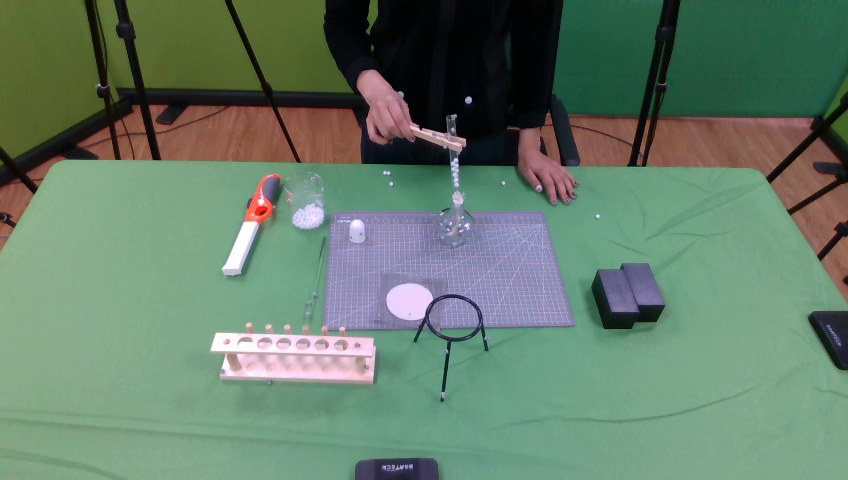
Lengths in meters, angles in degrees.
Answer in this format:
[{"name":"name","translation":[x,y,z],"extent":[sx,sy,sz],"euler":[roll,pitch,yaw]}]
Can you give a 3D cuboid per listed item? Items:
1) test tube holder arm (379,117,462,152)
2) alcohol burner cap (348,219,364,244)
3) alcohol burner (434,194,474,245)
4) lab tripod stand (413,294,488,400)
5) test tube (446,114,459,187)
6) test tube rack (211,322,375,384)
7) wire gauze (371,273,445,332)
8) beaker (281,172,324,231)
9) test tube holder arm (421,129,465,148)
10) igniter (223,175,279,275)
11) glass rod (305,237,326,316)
[{"name":"test tube holder arm","translation":[-0.010,-0.191,1.084],"extent":[0.177,0.015,0.013],"euler":[22,45,25]},{"name":"alcohol burner cap","translation":[-0.134,-0.019,1.190],"extent":[0.034,0.048,0.033],"euler":[2,45,-2]},{"name":"alcohol burner","translation":[0.061,-0.046,1.183],"extent":[0.078,0.119,0.077],"euler":[3,47,-3]},{"name":"lab tripod stand","translation":[0.044,0.159,0.972],"extent":[0.148,0.132,0.147],"euler":[2,44,-2]},{"name":"test tube","translation":[0.051,-0.154,1.072],"extent":[0.017,0.151,0.017],"euler":[-4,43,4]},{"name":"test tube rack","translation":[-0.202,0.176,0.969],"extent":[0.242,0.085,0.066],"euler":[3,46,-2]},{"name":"wire gauze","translation":[-0.028,0.108,1.100],"extent":[0.125,0.011,0.121],"euler":[8,45,4]},{"name":"beaker","translation":[-0.234,-0.073,1.199],"extent":[0.084,0.101,0.074],"euler":[24,50,17]},{"name":"test tube holder arm","translation":[0.032,-0.180,1.069],"extent":[0.087,0.015,0.010],"euler":[17,43,20]},{"name":"igniter","translation":[-0.341,-0.039,1.207],"extent":[0.057,0.025,0.275],"euler":[-1,45,8]},{"name":"glass rod","translation":[-0.202,0.064,1.131],"extent":[0.008,0.008,0.198],"euler":[4,44,0]}]
